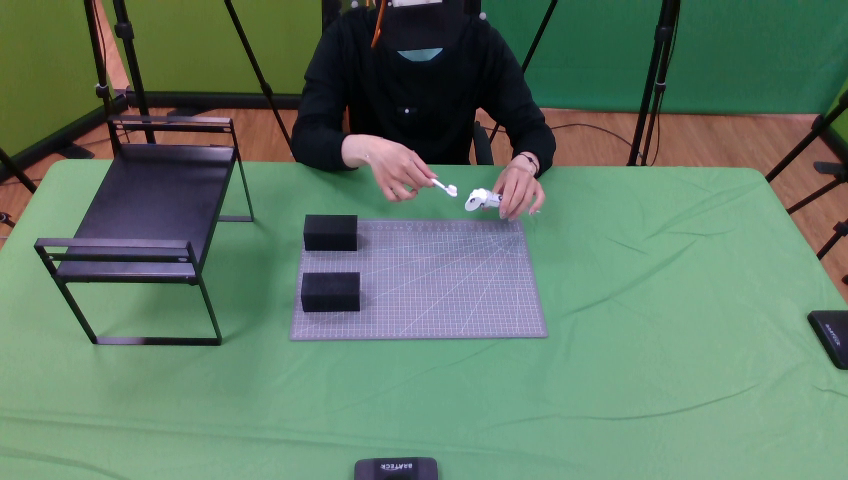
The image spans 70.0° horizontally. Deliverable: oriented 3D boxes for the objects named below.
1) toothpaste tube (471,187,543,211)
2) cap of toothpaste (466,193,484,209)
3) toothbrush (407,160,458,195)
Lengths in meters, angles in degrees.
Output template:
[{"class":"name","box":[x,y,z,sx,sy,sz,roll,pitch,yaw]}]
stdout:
[{"class":"toothpaste tube","box":[0.156,-0.075,1.167,0.166,0.034,0.054,8,17,-37]},{"class":"cap of toothpaste","box":[0.092,-0.073,1.102,0.037,0.037,0.011,-19,54,-20]},{"class":"toothbrush","box":[0.013,-0.125,1.172,0.014,0.017,0.180,-16,32,-26]}]
